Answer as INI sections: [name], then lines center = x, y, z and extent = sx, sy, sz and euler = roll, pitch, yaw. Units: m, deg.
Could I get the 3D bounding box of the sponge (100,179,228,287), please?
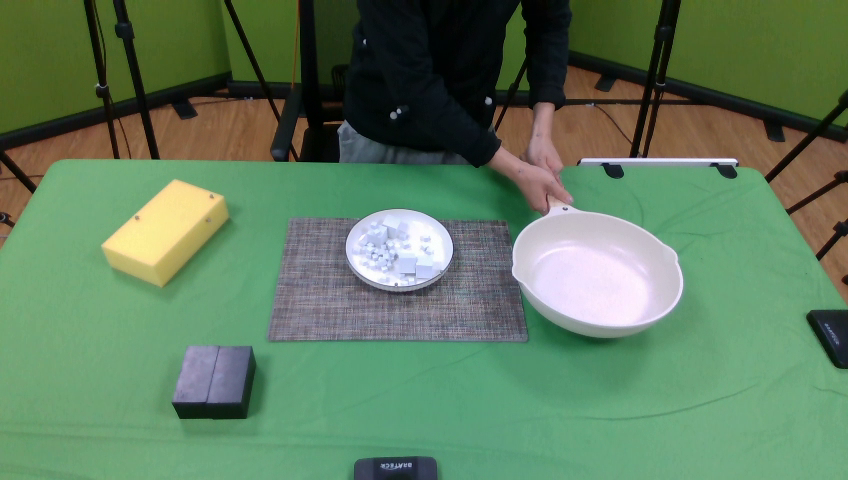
[sponge]
center = -0.486, -0.019, 1.151
extent = 0.118, 0.061, 0.206
euler = 19, 47, 12

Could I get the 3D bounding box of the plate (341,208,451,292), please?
[plate]
center = -0.053, 0.022, 1.156
extent = 0.208, 0.039, 0.206
euler = 2, 46, -2

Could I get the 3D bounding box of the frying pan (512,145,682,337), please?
[frying pan]
center = 0.278, -0.017, 1.144
extent = 0.307, 0.103, 0.484
euler = -6, 51, -11
